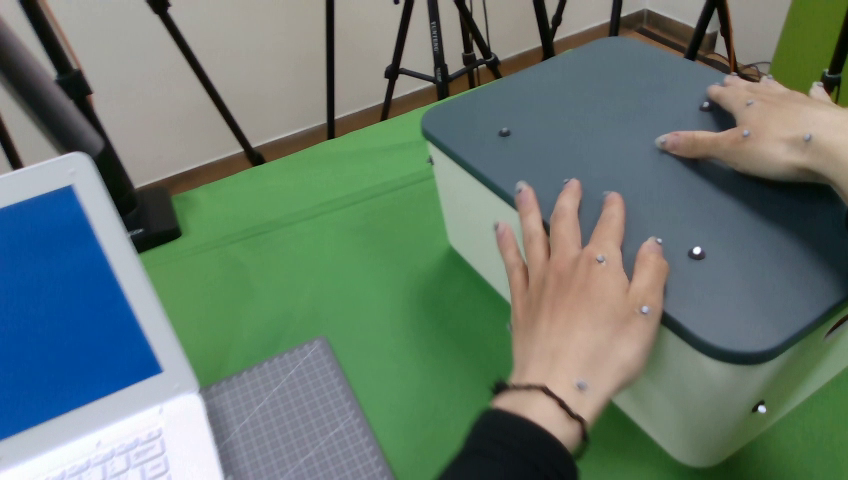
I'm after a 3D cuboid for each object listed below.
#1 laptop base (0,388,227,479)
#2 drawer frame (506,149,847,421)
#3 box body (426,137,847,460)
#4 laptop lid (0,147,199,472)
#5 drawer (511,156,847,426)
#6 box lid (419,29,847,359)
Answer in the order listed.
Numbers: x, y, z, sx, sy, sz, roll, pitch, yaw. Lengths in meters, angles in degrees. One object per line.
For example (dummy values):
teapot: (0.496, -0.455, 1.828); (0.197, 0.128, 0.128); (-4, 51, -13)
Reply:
laptop base: (-0.304, 0.265, 0.419); (0.355, 0.023, 0.233); (-23, 46, -15)
drawer frame: (0.213, 0.023, 0.529); (0.202, 0.083, 0.211); (-23, 39, -18)
box body: (0.197, -0.022, 0.539); (0.254, 0.162, 0.360); (-27, 44, -19)
laptop lid: (-0.394, 0.093, 0.473); (0.357, 0.243, 0.013); (-25, 14, -15)
drawer: (0.213, 0.028, 0.535); (0.195, 0.074, 0.209); (-25, 44, -14)
box lid: (0.188, -0.076, 0.489); (0.263, 0.015, 0.367); (-27, 44, -18)
